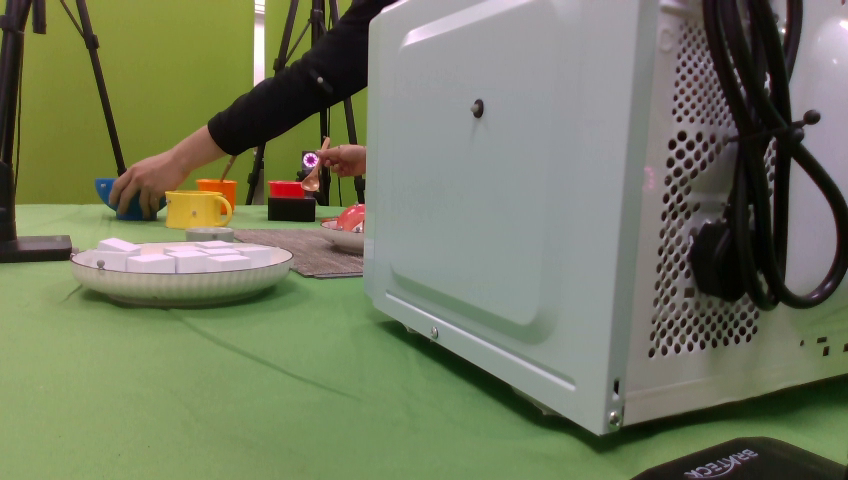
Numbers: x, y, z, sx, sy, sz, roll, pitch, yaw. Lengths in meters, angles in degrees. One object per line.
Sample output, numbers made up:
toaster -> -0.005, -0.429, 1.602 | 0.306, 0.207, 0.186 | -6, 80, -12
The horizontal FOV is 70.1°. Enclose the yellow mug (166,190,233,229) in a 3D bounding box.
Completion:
yellow mug -> -0.415, -0.057, 1.131 | 0.130, 0.064, 0.100 | 5, 7, 16

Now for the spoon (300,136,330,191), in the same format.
spoon -> -0.253, -0.185, 1.444 | 0.041, 0.193, 0.021 | 13, -36, 1

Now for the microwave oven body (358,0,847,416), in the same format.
microwave oven body -> 0.211, -0.047, 0.474 | 0.444, 0.260, 0.324 | -1, 7, -28

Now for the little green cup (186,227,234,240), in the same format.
little green cup -> -0.285, 0.005, 0.805 | 0.061, 0.038, 0.061 | 2, 8, 0

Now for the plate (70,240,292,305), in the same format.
plate -> -0.242, 0.031, 0.618 | 0.208, 0.039, 0.207 | 2, 7, 0

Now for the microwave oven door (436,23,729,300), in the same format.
microwave oven door -> 0.180, -0.072, 0.621 | 0.358, 0.243, 0.039 | -2, 9, -29

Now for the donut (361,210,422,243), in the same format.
donut -> -0.051, -0.020, 0.959 | 0.099, 0.048, 0.099 | 7, 8, -1

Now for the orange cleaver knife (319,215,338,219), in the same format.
orange cleaver knife -> -0.142, -0.057, 1.394 | 0.077, 0.012, 0.212 | 4, 8, 44

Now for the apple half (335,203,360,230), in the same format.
apple half -> -0.116, -0.038, 0.960 | 0.081, 0.033, 0.081 | -37, 8, 6

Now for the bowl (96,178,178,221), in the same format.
bowl -> -0.577, -0.081, 1.218 | 0.151, 0.077, 0.151 | 4, 6, 0

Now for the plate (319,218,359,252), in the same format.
plate -> -0.059, -0.007, 0.939 | 0.209, 0.038, 0.209 | 3, 8, 0

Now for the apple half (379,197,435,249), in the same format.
apple half -> -0.020, -0.030, 0.891 | 0.081, 0.053, 0.074 | -2, 49, -27

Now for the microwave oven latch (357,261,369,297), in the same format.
microwave oven latch -> -0.019, 0.033, 0.531 | 0.079, 0.029, 0.030 | -1, 7, -28

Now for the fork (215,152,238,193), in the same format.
fork -> -0.455, -0.132, 1.367 | 0.028, 0.018, 0.207 | -2, -35, -37
